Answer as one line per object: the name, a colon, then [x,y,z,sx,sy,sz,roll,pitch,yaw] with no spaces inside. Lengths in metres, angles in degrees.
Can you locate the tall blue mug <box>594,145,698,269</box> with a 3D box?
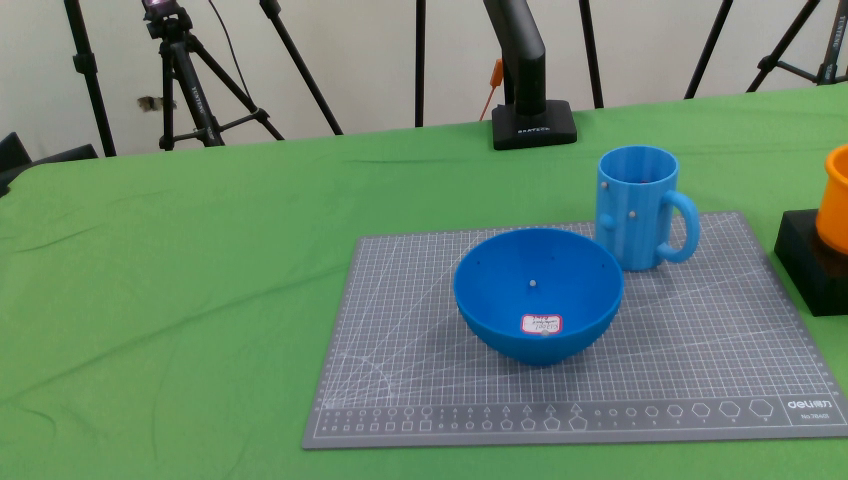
tall blue mug: [0.231,-0.030,0.626,0.106,0.109,0.077,13,42,27]

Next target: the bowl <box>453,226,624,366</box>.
bowl: [0.105,0.062,0.561,0.151,0.077,0.150,-6,37,5]

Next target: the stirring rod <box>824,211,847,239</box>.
stirring rod: [0.426,-0.064,0.523,0.176,0.006,0.014,-47,33,22]
